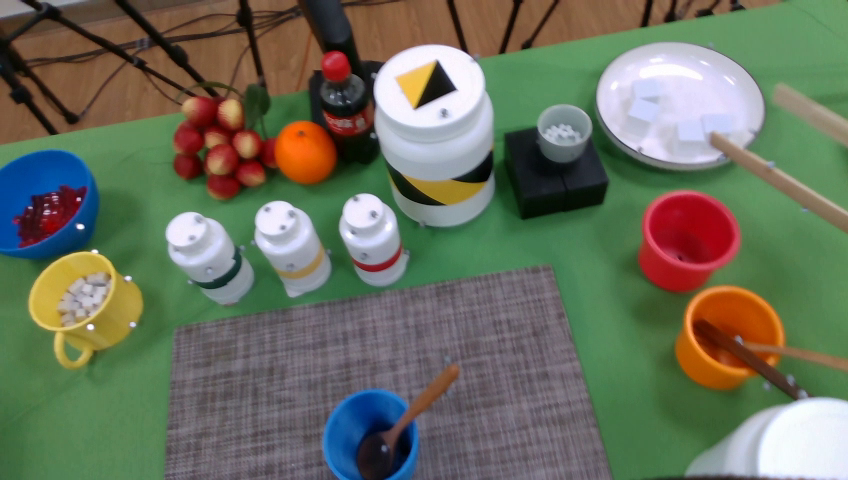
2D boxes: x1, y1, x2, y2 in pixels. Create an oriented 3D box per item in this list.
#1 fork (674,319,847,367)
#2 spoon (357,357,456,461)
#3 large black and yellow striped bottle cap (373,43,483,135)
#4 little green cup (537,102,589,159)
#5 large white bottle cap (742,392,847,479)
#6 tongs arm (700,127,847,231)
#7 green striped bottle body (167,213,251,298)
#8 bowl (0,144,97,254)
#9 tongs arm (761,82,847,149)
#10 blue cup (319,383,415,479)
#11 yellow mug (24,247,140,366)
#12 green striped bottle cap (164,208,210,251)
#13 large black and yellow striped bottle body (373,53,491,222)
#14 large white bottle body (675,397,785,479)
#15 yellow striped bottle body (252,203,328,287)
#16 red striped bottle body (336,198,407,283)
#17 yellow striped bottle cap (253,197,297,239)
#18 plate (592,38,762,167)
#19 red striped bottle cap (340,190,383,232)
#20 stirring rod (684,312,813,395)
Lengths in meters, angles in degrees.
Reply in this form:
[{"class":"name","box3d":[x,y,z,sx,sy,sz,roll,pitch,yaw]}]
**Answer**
[{"class":"fork","box3d":[0.328,0.100,0.568,0.028,0.019,0.206,-39,19,-23]},{"class":"spoon","box3d":[-0.021,0.160,0.546,0.022,0.194,0.041,-9,57,-38]},{"class":"large black and yellow striped bottle cap","box3d":[0.004,-0.159,0.628,0.115,0.019,0.114,-3,60,5]},{"class":"little green cup","box3d":[0.162,-0.128,0.719,0.061,0.039,0.061,-2,59,3]},{"class":"large white bottle cap","box3d":[0.283,0.162,0.419,0.115,0.018,0.114,-2,60,4]},{"class":"tongs arm","box3d":[0.417,-0.011,0.537,0.051,0.027,0.380,-34,53,-10]},{"class":"green striped bottle body","box3d":[-0.247,0.014,0.690,0.063,0.120,0.062,-2,60,4]},{"class":"bowl","box3d":[-0.477,-0.038,0.766,0.151,0.077,0.150,-2,61,4]},{"class":"tongs arm","box3d":[0.459,-0.040,0.545,0.028,0.028,0.383,-28,52,-10]},{"class":"blue cup","box3d":[-0.046,0.193,0.577,0.092,0.101,0.092,-2,59,4]},{"class":"yellow mug","box3d":[-0.397,0.080,0.699,0.100,0.064,0.129,-1,61,4]},{"class":"green striped bottle cap","box3d":[-0.253,-0.011,0.645,0.044,0.020,0.044,-2,59,4]},{"class":"large black and yellow striped bottle body","box3d":[0.013,-0.118,0.702,0.131,0.185,0.129,-2,60,5]},{"class":"large white bottle body","box3d":[0.292,0.204,0.492,0.130,0.186,0.129,-3,60,5]},{"class":"yellow striped bottle body","box3d":[-0.153,0.001,0.688,0.063,0.121,0.062,-3,60,6]},{"class":"red striped bottle body","box3d":[-0.060,-0.004,0.682,0.063,0.121,0.062,-5,59,8]},{"class":"yellow striped bottle cap","box3d":[-0.158,-0.024,0.643,0.044,0.019,0.044,-2,62,4]},{"class":"plate","box3d":[0.322,-0.175,0.788,0.209,0.038,0.207,-2,61,4]},{"class":"red striped bottle cap","box3d":[-0.066,-0.031,0.637,0.044,0.018,0.044,-1,59,1]},{"class":"stirring rod","box3d":[0.300,0.104,0.574,0.014,0.006,0.175,-17,18,-3]}]
